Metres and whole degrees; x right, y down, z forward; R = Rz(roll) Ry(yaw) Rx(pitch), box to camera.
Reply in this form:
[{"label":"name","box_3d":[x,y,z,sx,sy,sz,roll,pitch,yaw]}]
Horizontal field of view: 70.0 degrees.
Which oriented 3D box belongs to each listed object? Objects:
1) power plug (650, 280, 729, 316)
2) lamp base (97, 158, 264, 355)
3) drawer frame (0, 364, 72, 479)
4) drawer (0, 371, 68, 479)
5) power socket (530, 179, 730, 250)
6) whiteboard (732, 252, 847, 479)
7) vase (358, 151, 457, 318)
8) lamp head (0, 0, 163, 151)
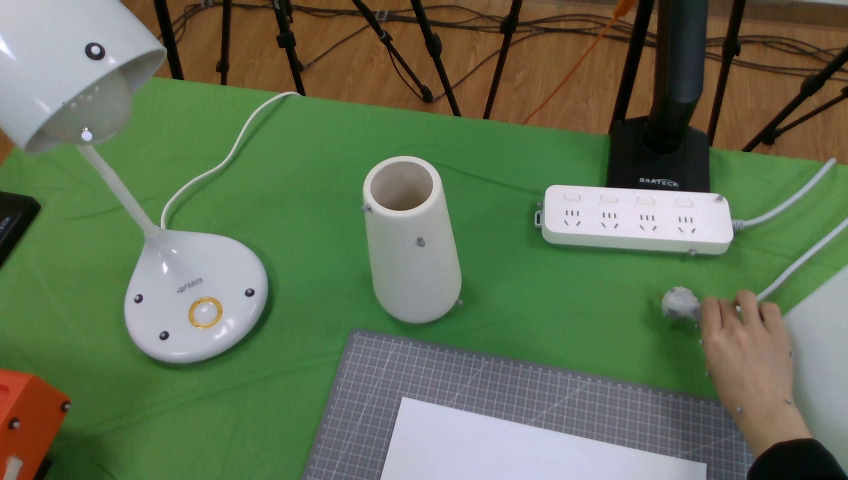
[{"label":"power plug","box_3d":[0.280,0.068,0.652,0.073,0.052,0.035,24,99,-24]},{"label":"lamp base","box_3d":[-0.277,0.008,0.633,0.160,0.182,0.177,-39,60,-20]},{"label":"drawer frame","box_3d":[-0.471,0.202,0.535,0.213,0.083,0.200,8,60,8]},{"label":"drawer","box_3d":[-0.466,0.200,0.532,0.211,0.074,0.193,8,60,9]},{"label":"power socket","box_3d":[0.241,-0.031,0.712,0.226,0.033,0.071,5,59,6]},{"label":"whiteboard","box_3d":[0.462,0.088,0.497,0.144,0.307,0.215,-8,55,-23]},{"label":"vase","box_3d":[-0.018,0.000,0.611,0.098,0.202,0.097,-2,57,4]},{"label":"lamp head","box_3d":[-0.248,-0.134,0.378,0.123,0.112,0.112,49,67,-13]}]
